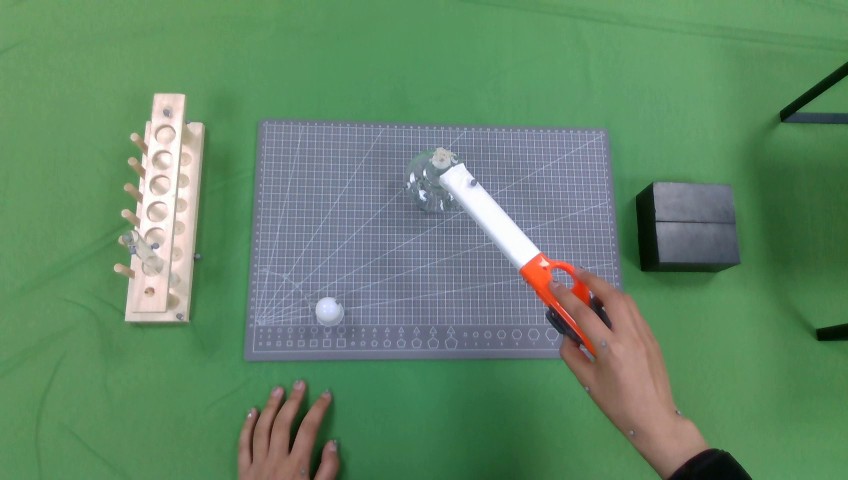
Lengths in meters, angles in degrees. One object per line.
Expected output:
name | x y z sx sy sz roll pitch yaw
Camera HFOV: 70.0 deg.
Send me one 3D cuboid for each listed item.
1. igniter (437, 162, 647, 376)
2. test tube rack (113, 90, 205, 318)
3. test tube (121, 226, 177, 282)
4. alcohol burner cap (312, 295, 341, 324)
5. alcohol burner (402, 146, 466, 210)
igniter | 0.113 0.028 0.605 0.057 0.025 0.275 -37 76 -17
test tube rack | -0.299 -0.038 0.677 0.067 0.085 0.241 1 76 -5
test tube | -0.275 0.018 0.614 0.017 0.151 0.017 3 71 -8
alcohol burner cap | -0.112 0.077 0.686 0.034 0.048 0.033 2 76 -6
alcohol burner | 0.014 -0.078 0.700 0.078 0.119 0.077 1 76 -3
